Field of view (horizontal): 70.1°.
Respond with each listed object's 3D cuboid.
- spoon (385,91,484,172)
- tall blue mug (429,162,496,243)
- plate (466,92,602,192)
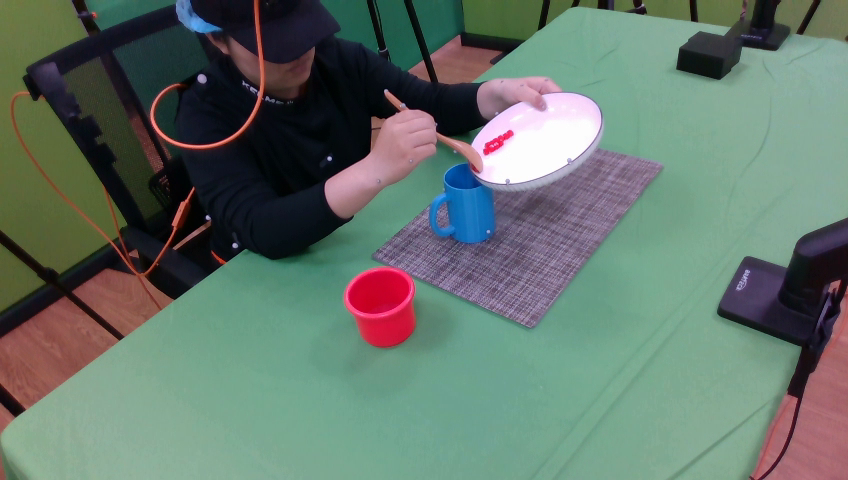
[{"bbox_3d":[0.019,-0.158,0.888,0.195,0.021,0.041,29,38,-25],"label":"spoon"},{"bbox_3d":[0.067,-0.051,0.960,0.077,0.108,0.107,17,47,27],"label":"tall blue mug"},{"bbox_3d":[0.166,-0.143,0.912,0.207,0.039,0.206,-18,40,17],"label":"plate"}]
